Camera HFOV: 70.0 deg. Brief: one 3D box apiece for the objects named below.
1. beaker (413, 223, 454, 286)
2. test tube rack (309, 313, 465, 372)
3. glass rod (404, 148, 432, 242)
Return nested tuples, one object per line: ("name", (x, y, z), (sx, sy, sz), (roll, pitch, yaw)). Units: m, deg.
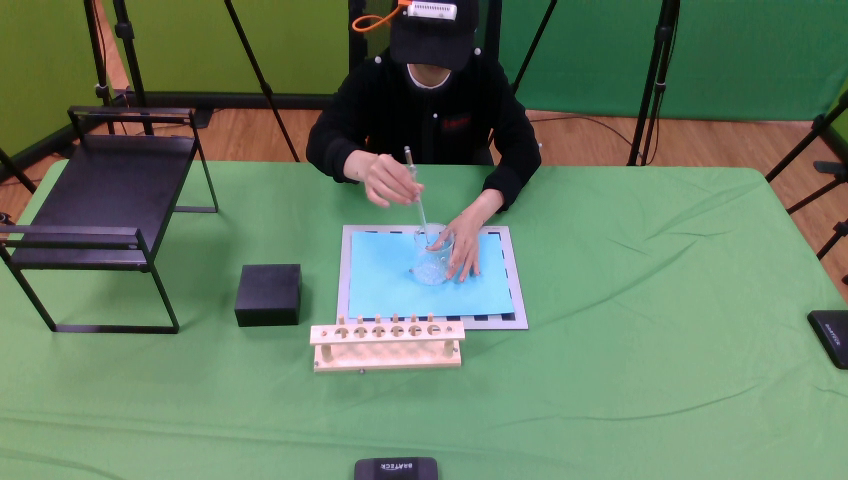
("beaker", (0.018, 0.027, 1.110), (0.073, 0.101, 0.084), (37, 54, 27))
("test tube rack", (-0.059, 0.161, 0.990), (0.242, 0.085, 0.066), (-1, 46, -5))
("glass rod", (-0.008, -0.066, 0.965), (0.008, 0.201, 0.008), (-8, 45, 8))
